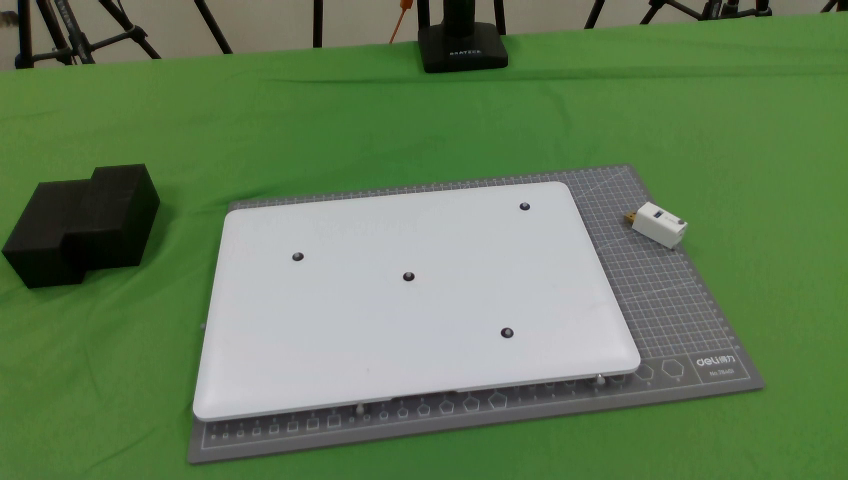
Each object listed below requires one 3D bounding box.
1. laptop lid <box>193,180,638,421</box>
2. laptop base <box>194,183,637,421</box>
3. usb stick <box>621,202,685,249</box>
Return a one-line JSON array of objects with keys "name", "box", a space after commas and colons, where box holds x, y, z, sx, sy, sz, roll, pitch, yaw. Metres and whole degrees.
[{"name": "laptop lid", "box": [-0.014, 0.036, 0.545, 0.357, 0.013, 0.239, -4, 47, -3]}, {"name": "laptop base", "box": [-0.014, 0.043, 0.555, 0.355, 0.023, 0.233, -5, 48, -4]}, {"name": "usb stick", "box": [0.225, -0.018, 0.602, 0.021, 0.027, 0.058, -34, 51, -29]}]
